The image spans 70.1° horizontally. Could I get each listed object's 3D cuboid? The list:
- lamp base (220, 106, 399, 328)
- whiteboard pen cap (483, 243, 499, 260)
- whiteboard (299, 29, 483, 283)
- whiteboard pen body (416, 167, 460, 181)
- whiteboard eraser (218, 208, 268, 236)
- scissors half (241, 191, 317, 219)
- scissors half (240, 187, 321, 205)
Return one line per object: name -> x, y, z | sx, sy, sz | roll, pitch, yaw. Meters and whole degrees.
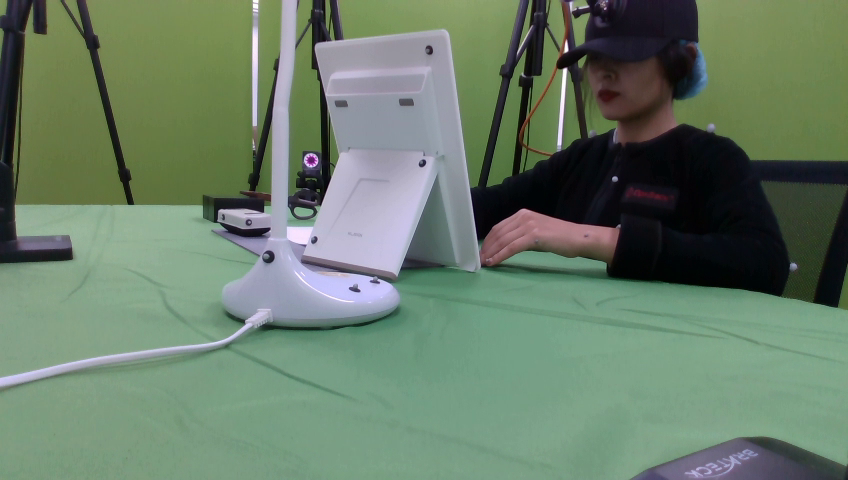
lamp base -> -0.101, -0.023, 0.531 | 0.160, 0.180, 0.179 | 4, 10, 10
whiteboard pen cap -> 0.095, 0.016, 0.866 | 0.018, 0.018, 0.033 | 1, 20, -10
whiteboard -> -0.074, -0.082, 0.742 | 0.216, 0.305, 0.144 | 9, 29, 38
whiteboard pen body -> 0.020, -0.092, 0.847 | 0.017, 0.017, 0.141 | 6, 10, 24
whiteboard eraser -> -0.309, -0.031, 1.044 | 0.056, 0.042, 0.112 | -2, 9, -40
scissors half -> -0.317, -0.079, 1.326 | 0.176, 0.040, 0.013 | 18, 16, -31
scissors half -> -0.311, -0.097, 1.319 | 0.176, 0.040, 0.012 | -1, 30, -25
